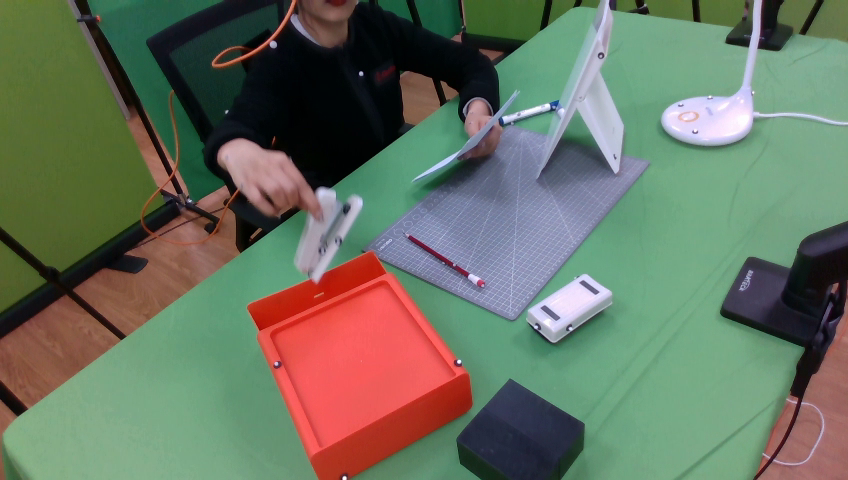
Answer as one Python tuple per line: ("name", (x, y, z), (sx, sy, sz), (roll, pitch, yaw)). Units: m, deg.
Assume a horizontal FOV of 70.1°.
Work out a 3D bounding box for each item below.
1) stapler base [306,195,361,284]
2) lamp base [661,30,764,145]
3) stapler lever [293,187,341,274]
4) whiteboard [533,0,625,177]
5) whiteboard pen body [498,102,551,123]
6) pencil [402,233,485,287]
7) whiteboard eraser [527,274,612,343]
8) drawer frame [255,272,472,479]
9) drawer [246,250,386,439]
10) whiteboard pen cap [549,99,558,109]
("stapler base", (-0.129, -0.006, 0.820), (0.130, 0.024, 0.041), (-61, 28, 4))
("lamp base", (0.535, -0.287, 1.096), (0.179, 0.181, 0.159), (-10, 40, -4))
("stapler lever", (-0.150, -0.015, 0.806), (0.118, 0.040, 0.026), (-62, 28, 4))
("whiteboard", (0.321, -0.258, 1.049), (0.144, 0.306, 0.217), (20, 45, 4))
("whiteboard pen body", (0.220, -0.268, 1.256), (0.141, 0.017, 0.017), (-19, 41, -12))
("pencil", (0.026, 0.028, 0.949), (0.012, 0.012, 0.192), (-34, 44, -26))
("whiteboard eraser", (0.198, 0.094, 0.820), (0.113, 0.042, 0.055), (-29, 43, -22))
("drawer frame", (-0.079, 0.161, 0.760), (0.202, 0.083, 0.211), (-24, 43, -18))
("drawer", (-0.109, 0.130, 0.805), (0.195, 0.073, 0.210), (-23, 43, -18))
("whiteboard pen cap", (0.275, -0.286, 1.267), (0.033, 0.018, 0.018), (-17, 41, -12))
